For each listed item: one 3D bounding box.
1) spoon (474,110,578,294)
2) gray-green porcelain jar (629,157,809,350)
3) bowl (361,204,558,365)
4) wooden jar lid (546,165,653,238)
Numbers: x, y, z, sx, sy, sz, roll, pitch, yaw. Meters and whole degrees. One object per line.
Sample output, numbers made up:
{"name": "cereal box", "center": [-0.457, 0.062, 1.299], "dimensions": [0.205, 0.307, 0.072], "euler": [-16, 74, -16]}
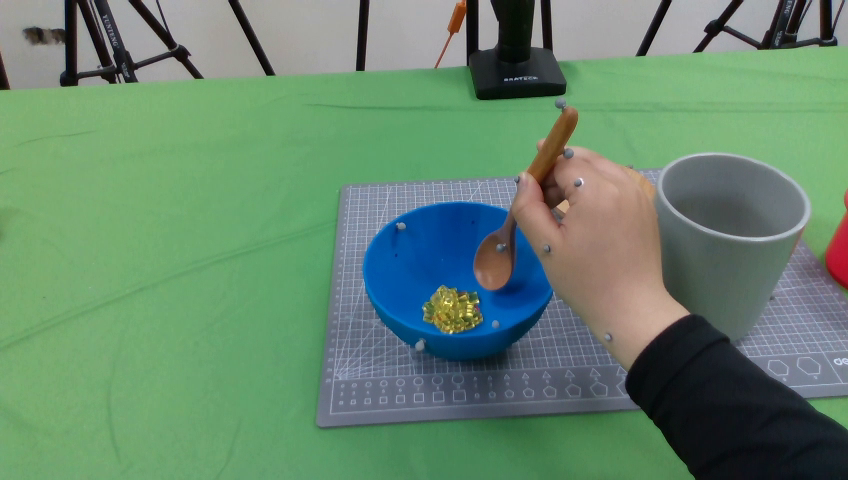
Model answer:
{"name": "spoon", "center": [0.066, -0.017, 0.420], "dimensions": [0.022, 0.195, 0.041], "euler": [-18, 63, -18]}
{"name": "gray-green porcelain jar", "center": [0.223, 0.016, 0.479], "dimensions": [0.106, 0.127, 0.105], "euler": [-1, 42, 2]}
{"name": "bowl", "center": [0.028, 0.048, 0.488], "dimensions": [0.151, 0.077, 0.150], "euler": [-1, 42, 1]}
{"name": "wooden jar lid", "center": [0.180, -0.039, 0.623], "dimensions": [0.108, 0.021, 0.107], "euler": [-1, 41, 2]}
